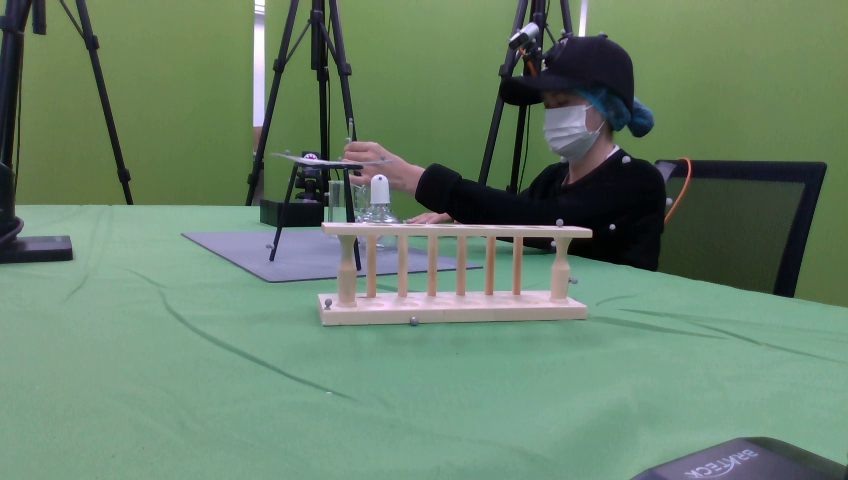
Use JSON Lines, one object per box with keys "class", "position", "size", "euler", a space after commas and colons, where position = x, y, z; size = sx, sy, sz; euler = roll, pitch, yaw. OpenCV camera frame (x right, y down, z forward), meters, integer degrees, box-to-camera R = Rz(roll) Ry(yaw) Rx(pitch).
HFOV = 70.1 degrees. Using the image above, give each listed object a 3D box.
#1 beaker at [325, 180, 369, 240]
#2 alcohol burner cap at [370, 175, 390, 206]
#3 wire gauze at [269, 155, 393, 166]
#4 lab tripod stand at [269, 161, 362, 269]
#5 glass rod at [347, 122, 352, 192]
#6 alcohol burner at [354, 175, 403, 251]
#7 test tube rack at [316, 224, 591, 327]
{"class": "beaker", "position": [-0.133, -0.052, 1.058], "size": [0.074, 0.100, 0.083], "euler": [-3, 10, -36]}
{"class": "alcohol burner cap", "position": [-0.069, -0.077, 0.940], "size": [0.034, 0.048, 0.034], "euler": [-1, 6, 0]}
{"class": "wire gauze", "position": [-0.122, -0.102, 0.785], "size": [0.122, 0.011, 0.124], "euler": [-3, 10, -39]}
{"class": "lab tripod stand", "position": [-0.125, -0.036, 0.794], "size": [0.148, 0.131, 0.148], "euler": [5, 7, 0]}
{"class": "glass rod", "position": [-0.131, -0.105, 1.055], "size": [0.008, 0.199, 0.008], "euler": [3, 14, 0]}
{"class": "alcohol burner", "position": [-0.072, -0.042, 0.944], "size": [0.078, 0.119, 0.078], "euler": [1, 9, 0]}
{"class": "test tube rack", "position": [0.026, 0.028, 0.555], "size": [0.243, 0.085, 0.066], "euler": [1, 7, -15]}
